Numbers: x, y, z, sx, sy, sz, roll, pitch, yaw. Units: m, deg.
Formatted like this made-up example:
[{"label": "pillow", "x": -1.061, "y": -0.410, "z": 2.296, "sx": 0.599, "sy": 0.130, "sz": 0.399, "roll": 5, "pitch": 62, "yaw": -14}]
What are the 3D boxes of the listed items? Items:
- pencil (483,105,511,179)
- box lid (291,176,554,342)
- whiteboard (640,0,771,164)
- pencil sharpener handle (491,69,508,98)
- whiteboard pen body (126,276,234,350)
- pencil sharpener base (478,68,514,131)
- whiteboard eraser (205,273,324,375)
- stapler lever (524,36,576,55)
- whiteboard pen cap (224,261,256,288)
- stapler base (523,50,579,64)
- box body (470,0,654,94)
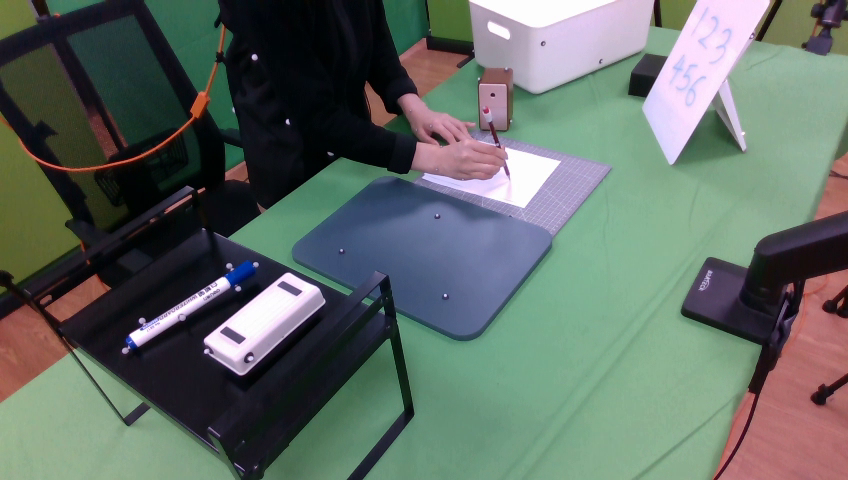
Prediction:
[{"label": "pencil", "x": 0.125, "y": -0.158, "z": 1.012, "sx": 0.012, "sy": 0.195, "sz": 0.012, "roll": -10, "pitch": 57, "yaw": 16}, {"label": "box lid", "x": -0.005, "y": 0.011, "z": 0.972, "sx": 0.368, "sy": 0.015, "sz": 0.264, "roll": 21, "pitch": 49, "yaw": 30}, {"label": "whiteboard", "x": 0.543, "y": -0.299, "z": 1.076, "sx": 0.144, "sy": 0.305, "sz": 0.216, "roll": 12, "pitch": 40, "yaw": -7}, {"label": "pencil sharpener handle", "x": 0.155, "y": -0.329, "z": 1.254, "sx": 0.036, "sy": 0.068, "sz": 0.030, "roll": 17, "pitch": 43, "yaw": 3}, {"label": "whiteboard pen body", "x": -0.251, "y": 0.071, "z": 0.649, "sx": 0.141, "sy": 0.017, "sz": 0.017, "roll": -36, "pitch": 48, "yaw": -26}, {"label": "pencil sharpener base", "x": 0.148, "y": -0.286, "z": 1.225, "sx": 0.061, "sy": 0.107, "sz": 0.076, "roll": 5, "pitch": 41, "yaw": 15}, {"label": "whiteboard eraser", "x": -0.157, "y": 0.084, "z": 0.605, "sx": 0.055, "sy": 0.042, "sz": 0.113, "roll": 24, "pitch": 49, "yaw": 30}, {"label": "stapler lever", "x": 0.296, "y": -0.456, "z": 1.418, "sx": 0.117, "sy": 0.040, "sz": 0.027, "roll": 4, "pitch": 40, "yaw": 17}, {"label": "whiteboard pen cap", "x": -0.207, "y": 0.039, "z": 0.677, "sx": 0.033, "sy": 0.018, "sz": 0.018, "roll": -35, "pitch": 47, "yaw": -18}, {"label": "stapler base", "x": 0.301, "y": -0.436, "z": 1.434, "sx": 0.130, "sy": 0.024, "sz": 0.041, "roll": 5, "pitch": 40, "yaw": 17}, {"label": "box body", "x": 0.319, "y": -0.498, "z": 1.405, "sx": 0.365, "sy": 0.161, "sz": 0.252, "roll": -26, "pitch": 43, "yaw": -21}]
